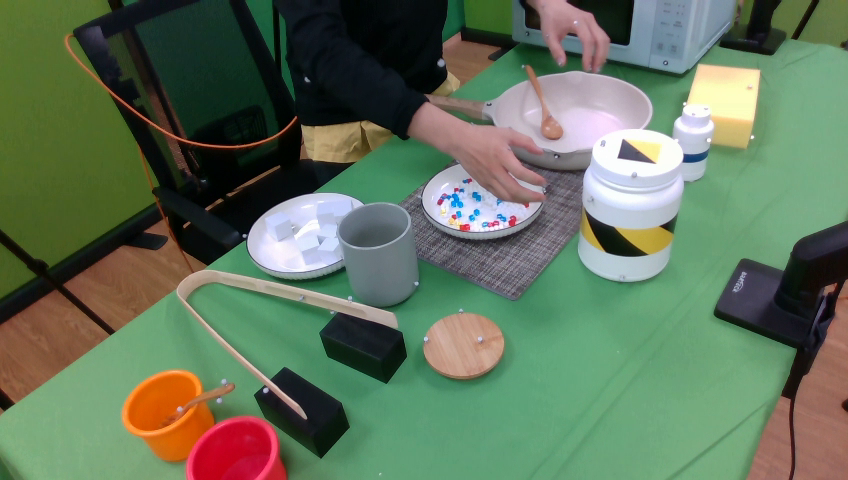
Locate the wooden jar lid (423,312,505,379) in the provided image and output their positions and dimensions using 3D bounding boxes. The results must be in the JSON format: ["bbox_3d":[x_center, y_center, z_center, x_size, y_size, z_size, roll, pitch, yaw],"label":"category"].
[{"bbox_3d":[0.053,0.142,0.800,0.108,0.021,0.108,-5,39,4],"label":"wooden jar lid"}]

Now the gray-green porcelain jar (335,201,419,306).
[{"bbox_3d":[-0.064,0.024,0.872,0.106,0.127,0.105,-4,41,4],"label":"gray-green porcelain jar"}]

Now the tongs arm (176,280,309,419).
[{"bbox_3d":[-0.254,0.133,0.801,0.028,0.028,0.384,-41,41,-23],"label":"tongs arm"}]

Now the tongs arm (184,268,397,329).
[{"bbox_3d":[-0.202,0.084,0.848,0.382,0.027,0.051,11,45,35],"label":"tongs arm"}]

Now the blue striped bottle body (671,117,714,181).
[{"bbox_3d":[0.449,-0.165,1.022,0.063,0.121,0.063,-5,41,4],"label":"blue striped bottle body"}]

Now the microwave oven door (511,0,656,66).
[{"bbox_3d":[0.351,-0.540,1.349,0.353,0.245,0.039,24,50,31],"label":"microwave oven door"}]

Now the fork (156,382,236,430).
[{"bbox_3d":[-0.262,0.189,0.690,0.018,0.206,0.028,49,43,-7],"label":"fork"}]

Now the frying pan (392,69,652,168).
[{"bbox_3d":[0.175,-0.248,1.166,0.487,0.103,0.306,12,43,9],"label":"frying pan"}]

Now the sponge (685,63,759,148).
[{"bbox_3d":[0.569,-0.263,1.164,0.117,0.061,0.207,12,45,22],"label":"sponge"}]

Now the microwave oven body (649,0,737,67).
[{"bbox_3d":[0.475,-0.602,1.411,0.438,0.261,0.327,23,50,32],"label":"microwave oven body"}]

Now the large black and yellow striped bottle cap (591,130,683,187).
[{"bbox_3d":[0.282,-0.111,0.803,0.115,0.019,0.114,-3,41,3],"label":"large black and yellow striped bottle cap"}]

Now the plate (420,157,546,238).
[{"bbox_3d":[0.099,-0.068,1.017,0.209,0.038,0.208,-4,40,4],"label":"plate"}]

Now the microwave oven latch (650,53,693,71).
[{"bbox_3d":[0.531,-0.386,1.301,0.078,0.029,0.030,25,51,33],"label":"microwave oven latch"}]

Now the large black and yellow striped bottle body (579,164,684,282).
[{"bbox_3d":[0.291,-0.046,0.858,0.131,0.185,0.130,-4,41,4],"label":"large black and yellow striped bottle body"}]

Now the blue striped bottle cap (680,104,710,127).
[{"bbox_3d":[0.443,-0.205,0.989,0.044,0.021,0.044,-1,41,2],"label":"blue striped bottle cap"}]

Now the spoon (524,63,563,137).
[{"bbox_3d":[0.234,-0.281,1.203,0.041,0.022,0.192,-13,68,-1],"label":"spoon"}]

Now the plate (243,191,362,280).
[{"bbox_3d":[-0.188,-0.005,0.992,0.207,0.039,0.206,-4,41,4],"label":"plate"}]
